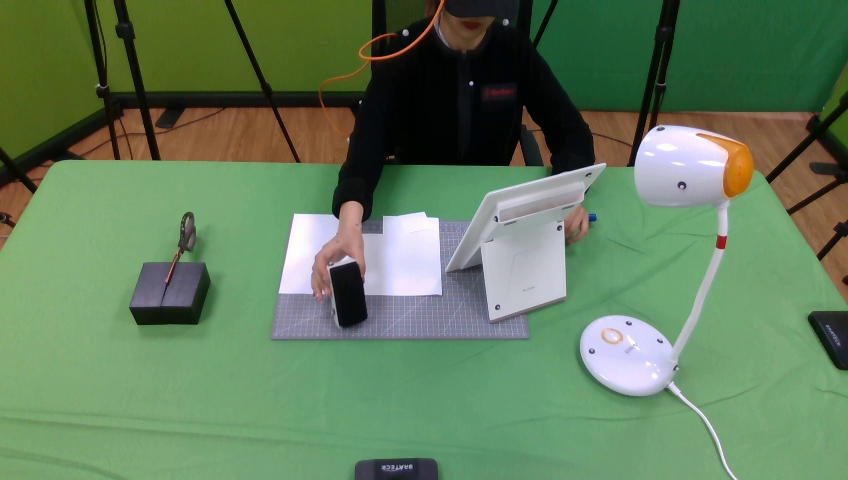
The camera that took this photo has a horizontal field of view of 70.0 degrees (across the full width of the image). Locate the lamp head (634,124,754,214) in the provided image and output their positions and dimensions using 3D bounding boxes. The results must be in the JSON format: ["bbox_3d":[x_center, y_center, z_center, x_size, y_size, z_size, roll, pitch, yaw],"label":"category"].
[{"bbox_3d":[0.351,-0.089,0.776,0.112,0.113,0.122,-30,30,-28],"label":"lamp head"}]

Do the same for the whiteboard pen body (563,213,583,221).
[{"bbox_3d":[0.282,-0.047,1.259,0.141,0.017,0.017,-1,46,-4],"label":"whiteboard pen body"}]

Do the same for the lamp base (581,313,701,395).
[{"bbox_3d":[0.361,0.144,0.973,0.178,0.181,0.160,34,53,23],"label":"lamp base"}]

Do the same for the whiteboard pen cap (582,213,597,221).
[{"bbox_3d":[0.342,-0.048,1.260,0.033,0.018,0.018,-2,46,-3],"label":"whiteboard pen cap"}]

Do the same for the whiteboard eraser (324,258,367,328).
[{"bbox_3d":[-0.132,0.090,1.029,0.056,0.113,0.041,-15,18,-24],"label":"whiteboard eraser"}]

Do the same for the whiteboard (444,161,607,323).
[{"bbox_3d":[0.186,0.025,1.029,0.217,0.306,0.143,-14,68,-18],"label":"whiteboard"}]

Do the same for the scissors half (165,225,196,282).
[{"bbox_3d":[-0.444,0.026,1.107,0.013,0.040,0.174,4,30,-5],"label":"scissors half"}]

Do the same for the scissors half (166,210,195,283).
[{"bbox_3d":[-0.440,0.010,1.094,0.013,0.040,0.174,8,48,-9],"label":"scissors half"}]
